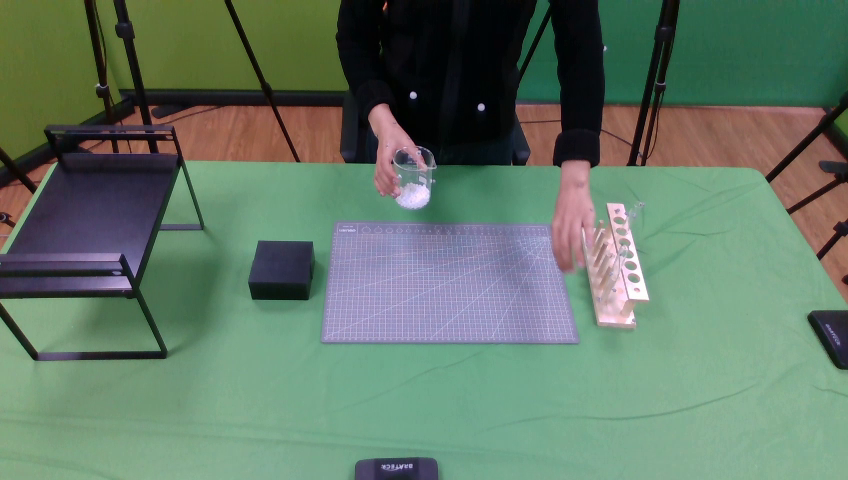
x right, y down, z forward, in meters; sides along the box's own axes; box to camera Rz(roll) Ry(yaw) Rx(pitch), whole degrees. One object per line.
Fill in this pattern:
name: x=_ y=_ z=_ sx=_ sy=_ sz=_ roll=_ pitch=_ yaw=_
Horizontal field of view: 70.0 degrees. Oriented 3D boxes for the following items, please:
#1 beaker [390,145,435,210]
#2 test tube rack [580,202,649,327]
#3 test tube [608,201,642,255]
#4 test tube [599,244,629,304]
beaker: x=-0.020 y=-0.112 z=1.111 sx=0.084 sy=0.101 sz=0.074 roll=18 pitch=48 yaw=14
test tube rack: x=0.352 y=0.040 z=1.143 sx=0.067 sy=0.085 sz=0.241 roll=4 pitch=46 yaw=-1
test tube: x=0.374 y=-0.019 z=1.134 sx=0.017 sy=0.151 sz=0.017 roll=3 pitch=52 yaw=-4
test tube: x=0.331 y=0.061 z=1.060 sx=0.017 sy=0.151 sz=0.017 roll=2 pitch=46 yaw=-1
